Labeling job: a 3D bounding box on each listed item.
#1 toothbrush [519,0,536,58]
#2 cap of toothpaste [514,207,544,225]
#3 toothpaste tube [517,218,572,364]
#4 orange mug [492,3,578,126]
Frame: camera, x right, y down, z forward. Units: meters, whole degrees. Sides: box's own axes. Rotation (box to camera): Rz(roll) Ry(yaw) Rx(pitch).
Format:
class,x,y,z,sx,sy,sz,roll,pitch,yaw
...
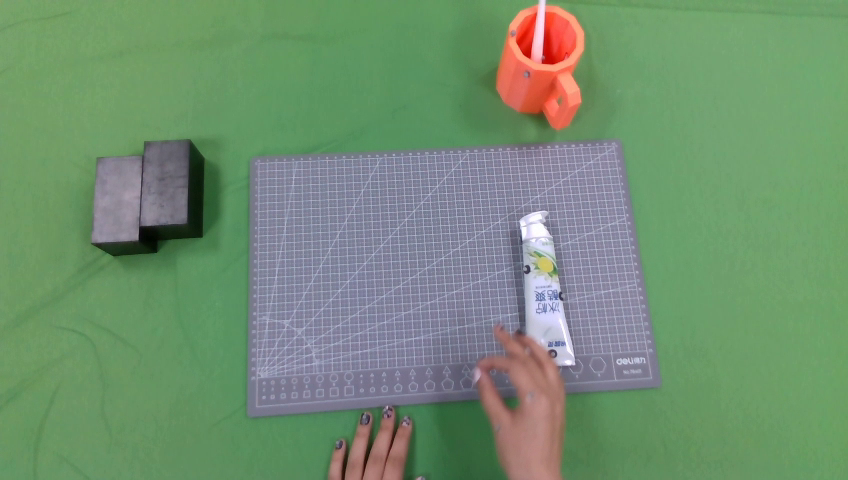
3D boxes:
class,x,y,z,sx,sy,sz,roll,pitch,yaw
toothbrush,0.121,-0.247,0.687,0.014,0.183,0.016,-11,39,-21
cap of toothpaste,0.122,-0.026,0.697,0.037,0.037,0.011,-16,72,-7
toothpaste tube,0.128,0.054,0.681,0.055,0.034,0.164,-6,79,3
orange mug,0.138,-0.201,0.717,0.083,0.101,0.125,-24,72,-8
